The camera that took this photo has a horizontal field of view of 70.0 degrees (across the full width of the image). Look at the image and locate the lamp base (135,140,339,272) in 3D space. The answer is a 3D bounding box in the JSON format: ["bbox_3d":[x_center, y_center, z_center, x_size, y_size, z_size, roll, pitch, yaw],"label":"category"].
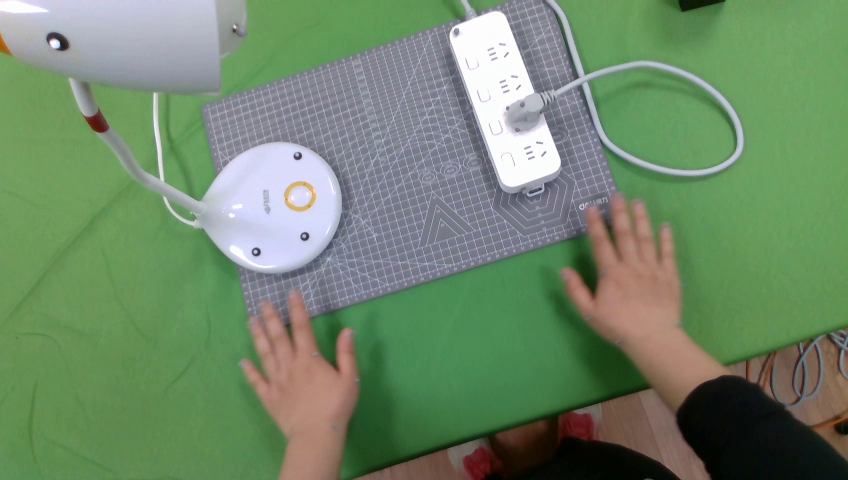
[{"bbox_3d":[-0.202,-0.050,0.644,0.179,0.181,0.160,-21,77,6],"label":"lamp base"}]

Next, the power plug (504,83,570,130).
[{"bbox_3d":[0.125,-0.143,0.672,0.072,0.053,0.035,-8,80,4],"label":"power plug"}]

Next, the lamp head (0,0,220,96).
[{"bbox_3d":[-0.187,-0.136,0.354,0.123,0.112,0.112,-11,78,-16],"label":"lamp head"}]

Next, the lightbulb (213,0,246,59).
[{"bbox_3d":[-0.161,-0.137,0.356,0.108,0.059,0.059,-1,78,-21],"label":"lightbulb"}]

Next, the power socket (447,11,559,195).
[{"bbox_3d":[0.090,-0.161,0.699,0.072,0.033,0.225,-19,78,3],"label":"power socket"}]
